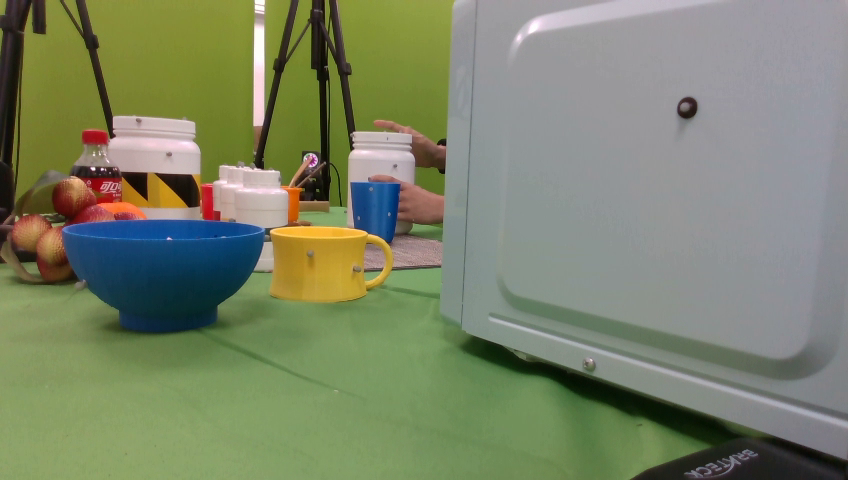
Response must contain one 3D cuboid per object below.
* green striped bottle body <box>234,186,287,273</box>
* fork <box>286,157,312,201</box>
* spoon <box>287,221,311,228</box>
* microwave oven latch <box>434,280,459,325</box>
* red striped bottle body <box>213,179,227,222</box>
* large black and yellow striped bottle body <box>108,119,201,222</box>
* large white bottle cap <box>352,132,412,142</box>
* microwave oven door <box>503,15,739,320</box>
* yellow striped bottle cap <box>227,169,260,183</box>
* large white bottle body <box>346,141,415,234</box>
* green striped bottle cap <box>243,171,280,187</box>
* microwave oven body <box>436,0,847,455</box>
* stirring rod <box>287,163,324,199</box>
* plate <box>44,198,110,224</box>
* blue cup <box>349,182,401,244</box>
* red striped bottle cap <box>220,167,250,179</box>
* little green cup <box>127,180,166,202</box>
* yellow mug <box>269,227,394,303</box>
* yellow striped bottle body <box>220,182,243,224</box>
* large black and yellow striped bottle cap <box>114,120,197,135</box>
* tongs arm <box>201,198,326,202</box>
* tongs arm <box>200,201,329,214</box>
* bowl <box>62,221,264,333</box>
[{"bbox_3d":[-0.200,-0.023,0.743,0.063,0.119,0.063,2,7,0],"label":"green striped bottle body"},{"bbox_3d":[-0.289,-0.116,1.321,0.028,0.019,0.207,6,51,19],"label":"fork"},{"bbox_3d":[-0.232,-0.027,1.116,0.041,0.021,0.193,-22,6,4],"label":"spoon"},{"bbox_3d":[0.044,0.045,0.470,0.079,0.029,0.030,-2,8,-39],"label":"microwave oven latch"},{"bbox_3d":[-0.284,-0.048,0.909,0.063,0.119,0.063,3,11,0],"label":"red striped bottle body"},{"bbox_3d":[-0.412,-0.088,0.930,0.131,0.184,0.130,3,7,0],"label":"large black and yellow striped bottle body"},{"bbox_3d":[-0.080,-0.196,1.157,0.115,0.018,0.115,2,8,0],"label":"large white bottle cap"},{"bbox_3d":[0.218,-0.065,0.600,0.358,0.243,0.039,-4,10,-41],"label":"microwave oven door"},{"bbox_3d":[-0.243,-0.087,0.818,0.044,0.018,0.044,3,6,0],"label":"yellow striped bottle cap"},{"bbox_3d":[-0.084,-0.109,1.170,0.131,0.184,0.130,2,8,0],"label":"large white bottle body"},{"bbox_3d":[-0.198,-0.074,0.736,0.044,0.020,0.044,1,7,0],"label":"green striped bottle cap"},{"bbox_3d":[0.279,-0.040,0.465,0.444,0.260,0.324,-3,9,-41],"label":"microwave oven body"},{"bbox_3d":[-0.278,-0.105,1.293,0.176,0.006,0.014,-46,25,-18],"label":"stirring rod"},{"bbox_3d":[-0.617,-0.056,1.179,0.209,0.038,0.209,3,7,0],"label":"plate"},{"bbox_3d":[-0.082,-0.046,1.010,0.093,0.100,0.092,1,6,0],"label":"blue cup"},{"bbox_3d":[-0.281,-0.100,0.901,0.044,0.017,0.044,-1,4,0],"label":"red striped bottle cap"},{"bbox_3d":[-0.485,-0.086,1.061,0.061,0.038,0.061,1,7,0],"label":"little green cup"},{"bbox_3d":[-0.094,0.023,0.629,0.131,0.064,0.099,0,7,-22],"label":"yellow mug"},{"bbox_3d":[-0.246,-0.036,0.825,0.063,0.120,0.063,3,8,0],"label":"yellow striped bottle body"},{"bbox_3d":[-0.407,-0.171,0.920,0.115,0.019,0.115,2,9,0],"label":"large black and yellow striped bottle cap"},{"bbox_3d":[-0.433,-0.090,1.508,0.390,0.028,0.028,-1,2,-29],"label":"tongs arm"},{"bbox_3d":[-0.378,-0.079,1.440,0.387,0.026,0.050,-4,8,-44],"label":"tongs arm"},{"bbox_3d":[-0.208,0.029,0.496,0.151,0.077,0.151,2,7,0],"label":"bowl"}]
